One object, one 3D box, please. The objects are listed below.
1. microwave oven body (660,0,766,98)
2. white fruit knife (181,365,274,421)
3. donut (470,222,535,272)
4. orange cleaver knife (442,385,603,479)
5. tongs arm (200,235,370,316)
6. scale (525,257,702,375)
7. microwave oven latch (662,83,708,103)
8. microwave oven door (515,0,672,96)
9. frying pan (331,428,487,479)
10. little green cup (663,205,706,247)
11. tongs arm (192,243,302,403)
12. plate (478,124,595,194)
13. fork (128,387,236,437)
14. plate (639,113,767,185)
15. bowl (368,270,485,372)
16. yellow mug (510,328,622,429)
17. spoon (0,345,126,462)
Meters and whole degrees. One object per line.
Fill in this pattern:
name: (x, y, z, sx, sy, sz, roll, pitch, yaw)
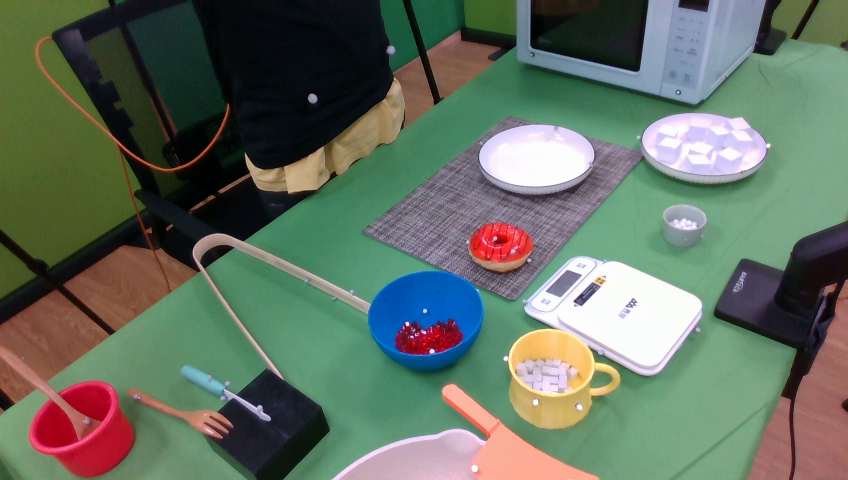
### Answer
microwave oven body: (0.472, -0.513, 1.317, 0.438, 0.261, 0.327, 26, 51, 34)
white fruit knife: (-0.245, 0.187, 0.747, 0.205, 0.027, 0.016, 9, 42, 40)
donut: (0.119, 0.009, 0.923, 0.099, 0.048, 0.098, -4, 38, 4)
orange cleaver knife: (0.086, 0.219, 0.612, 0.209, 0.012, 0.077, 28, 49, 35)
tongs arm: (-0.209, 0.062, 0.924, 0.381, 0.026, 0.051, 23, 53, 32)
scale: (0.254, 0.091, 0.821, 0.199, 0.032, 0.149, 28, 51, 35)
microwave oven latch: (0.518, -0.296, 1.204, 0.078, 0.029, 0.030, 28, 52, 35)
microwave oven door: (0.343, -0.454, 1.259, 0.353, 0.245, 0.039, 26, 51, 33)
frying pan: (-0.089, 0.305, 0.564, 0.487, 0.103, 0.306, 10, 41, 7)
little green cup: (0.396, -0.020, 0.926, 0.061, 0.039, 0.061, -4, 40, 4)
tongs arm: (-0.268, 0.109, 0.883, 0.028, 0.028, 0.384, -35, 46, -19)
plate: (0.202, -0.142, 1.093, 0.209, 0.038, 0.208, -4, 40, 4)
fork: (-0.305, 0.207, 0.744, 0.206, 0.019, 0.028, 3, 40, 36)
plate: (0.489, -0.157, 1.074, 0.207, 0.039, 0.206, -4, 40, 4)
bowl: (0.007, 0.118, 0.791, 0.151, 0.077, 0.150, -5, 40, 4)
yellow mug: (0.168, 0.164, 0.721, 0.130, 0.064, 0.099, 0, 40, 8)
spoon: (-0.434, 0.192, 0.720, 0.194, 0.021, 0.042, 47, 53, -7)
